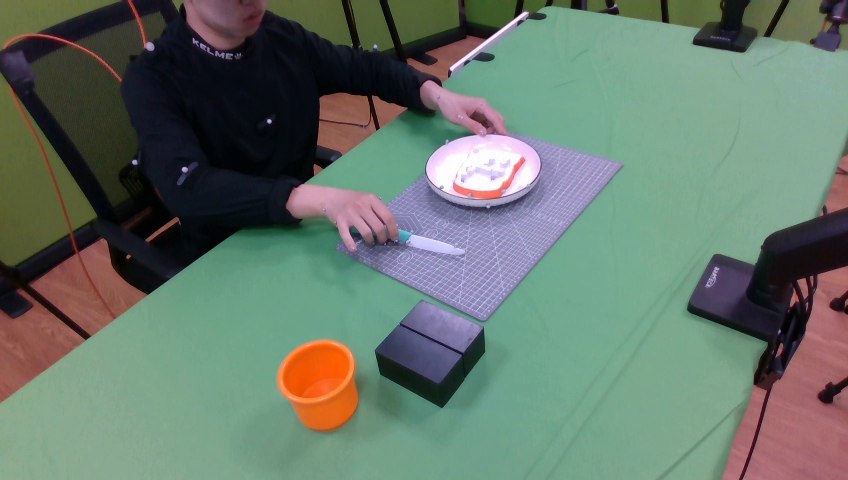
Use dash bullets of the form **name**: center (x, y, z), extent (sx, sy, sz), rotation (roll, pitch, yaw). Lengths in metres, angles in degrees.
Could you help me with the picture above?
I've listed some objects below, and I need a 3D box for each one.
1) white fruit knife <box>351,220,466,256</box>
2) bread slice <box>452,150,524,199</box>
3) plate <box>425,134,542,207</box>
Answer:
- **white fruit knife**: center (-0.028, -0.003, 0.968), extent (0.206, 0.027, 0.016), rotation (14, 29, 21)
- **bread slice**: center (0.111, -0.119, 1.078), extent (0.104, 0.019, 0.131), rotation (12, 43, 21)
- **plate**: center (0.106, -0.121, 1.079), extent (0.209, 0.038, 0.208), rotation (-4, 40, 4)
